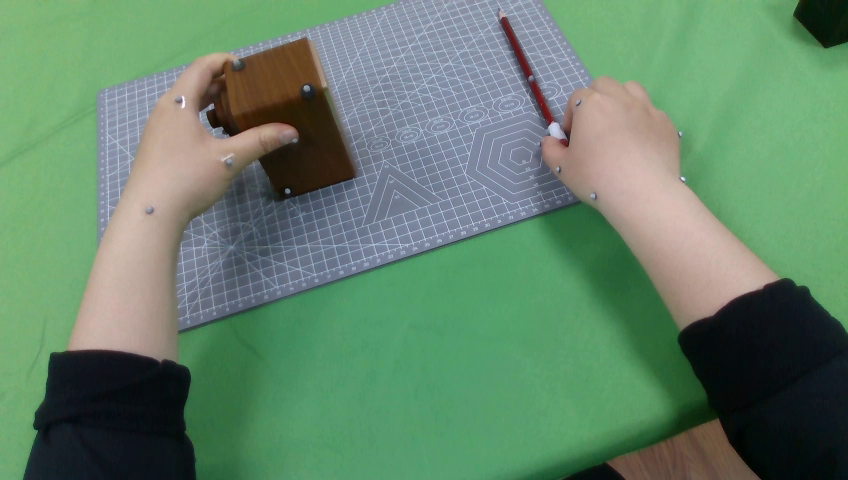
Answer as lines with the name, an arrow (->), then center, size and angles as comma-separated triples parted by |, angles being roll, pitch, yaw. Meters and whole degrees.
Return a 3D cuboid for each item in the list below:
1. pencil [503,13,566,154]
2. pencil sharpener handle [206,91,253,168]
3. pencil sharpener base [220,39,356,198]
pencil -> 0.096, -0.150, 0.549 | 0.012, 0.012, 0.192 | -12, 55, 0
pencil sharpener handle -> -0.156, -0.082, 0.470 | 0.030, 0.068, 0.035 | -19, 57, -3
pencil sharpener base -> -0.106, -0.092, 0.483 | 0.077, 0.108, 0.060 | -19, 58, -3
